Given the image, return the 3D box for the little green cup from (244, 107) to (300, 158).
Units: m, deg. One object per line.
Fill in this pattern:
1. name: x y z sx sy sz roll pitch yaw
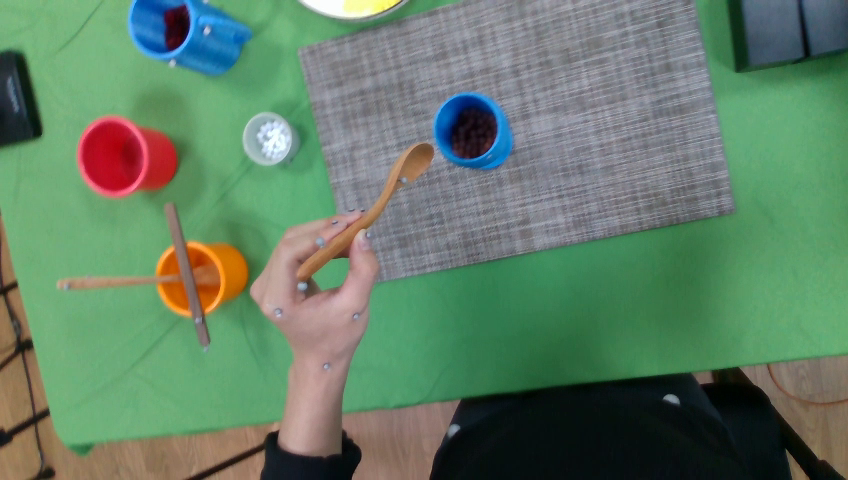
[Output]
1. little green cup: -0.183 -0.129 0.739 0.061 0.038 0.061 1 97 11

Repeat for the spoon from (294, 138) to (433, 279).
1. spoon: -0.038 -0.028 0.454 0.021 0.193 0.042 28 131 6

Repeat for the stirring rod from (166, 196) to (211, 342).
1. stirring rod: -0.279 0.035 0.717 0.014 0.006 0.176 -12 94 12

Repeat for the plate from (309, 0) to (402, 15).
1. plate: -0.074 -0.362 0.692 0.209 0.038 0.209 1 97 10

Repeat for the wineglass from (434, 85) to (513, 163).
1. wineglass: 0.055 -0.114 0.624 0.073 0.172 0.074 1 96 11

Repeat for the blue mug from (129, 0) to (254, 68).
1. blue mug: -0.258 -0.252 0.705 0.116 0.106 0.082 2 97 10

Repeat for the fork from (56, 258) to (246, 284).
1. fork: -0.321 0.040 0.728 0.208 0.018 0.028 -3 106 -33
